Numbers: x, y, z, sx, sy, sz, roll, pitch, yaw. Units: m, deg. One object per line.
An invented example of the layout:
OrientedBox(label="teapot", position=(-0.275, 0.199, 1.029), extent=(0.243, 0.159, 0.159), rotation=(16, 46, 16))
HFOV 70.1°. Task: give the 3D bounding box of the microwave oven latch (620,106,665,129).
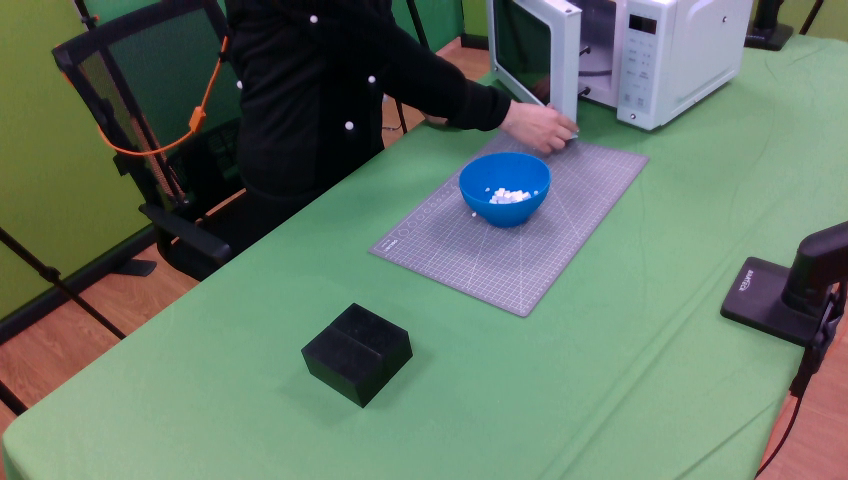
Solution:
OrientedBox(label="microwave oven latch", position=(0.413, -0.237, 1.146), extent=(0.030, 0.029, 0.078), rotation=(-32, 44, -23))

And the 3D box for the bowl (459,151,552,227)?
OrientedBox(label="bowl", position=(0.136, -0.074, 1.000), extent=(0.151, 0.077, 0.150), rotation=(-5, 40, 5))

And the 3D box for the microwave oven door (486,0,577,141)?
OrientedBox(label="microwave oven door", position=(0.206, -0.384, 1.203), extent=(0.039, 0.245, 0.353), rotation=(-17, 41, -9))

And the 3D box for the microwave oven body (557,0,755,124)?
OrientedBox(label="microwave oven body", position=(0.402, -0.458, 1.259), extent=(0.327, 0.261, 0.437), rotation=(-33, 45, -24))
